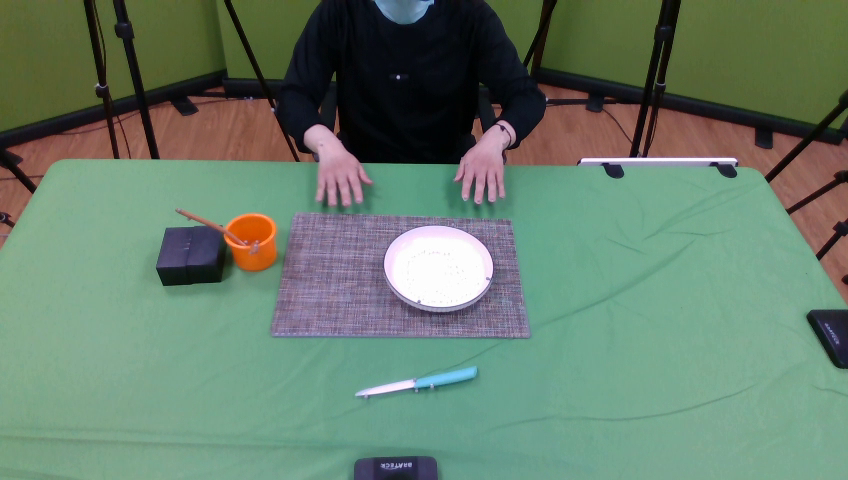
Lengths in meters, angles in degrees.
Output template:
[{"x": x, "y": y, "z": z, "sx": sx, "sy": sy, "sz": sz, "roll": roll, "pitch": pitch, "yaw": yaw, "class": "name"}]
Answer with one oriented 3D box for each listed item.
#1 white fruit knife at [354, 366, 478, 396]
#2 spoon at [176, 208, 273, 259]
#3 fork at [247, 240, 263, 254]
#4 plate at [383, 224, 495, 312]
[{"x": -0.010, "y": 0.231, "z": 0.978, "sx": 0.208, "sy": 0.016, "sz": 0.027, "roll": -9, "pitch": 19, "yaw": -10, "class": "white fruit knife"}, {"x": -0.355, "y": -0.011, "z": 1.088, "sx": 0.041, "sy": 0.195, "sz": 0.021, "roll": 21, "pitch": 77, "yaw": 54, "class": "spoon"}, {"x": -0.301, "y": 0.011, "z": 1.075, "sx": 0.028, "sy": 0.018, "sz": 0.207, "roll": 4, "pitch": 0, "yaw": -15, "class": "fork"}, {"x": 0.026, "y": 0.055, "z": 1.128, "sx": 0.209, "sy": 0.038, "sz": 0.208, "roll": 2, "pitch": 46, "yaw": -2, "class": "plate"}]
